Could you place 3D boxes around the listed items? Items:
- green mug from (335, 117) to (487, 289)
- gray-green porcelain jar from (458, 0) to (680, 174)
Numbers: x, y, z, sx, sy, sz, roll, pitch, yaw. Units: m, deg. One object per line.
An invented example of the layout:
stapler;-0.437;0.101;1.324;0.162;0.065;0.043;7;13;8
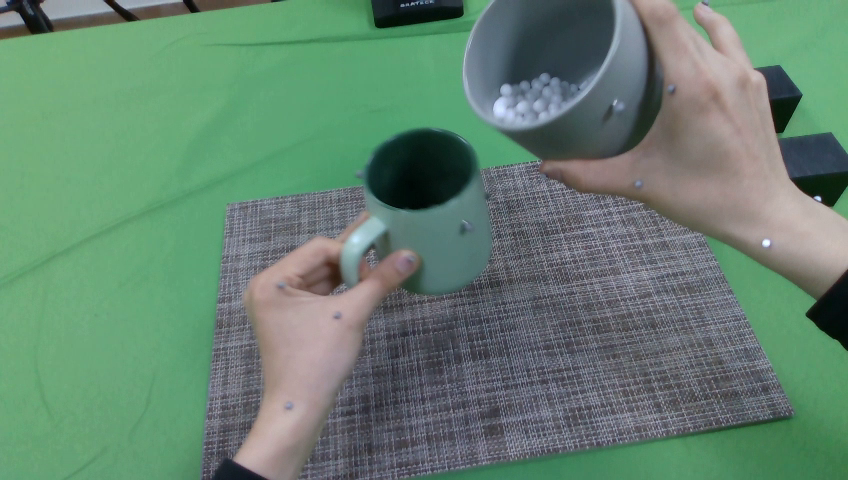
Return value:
green mug;-0.013;-0.014;0.440;0.091;0.106;0.125;36;68;27
gray-green porcelain jar;0.100;-0.106;0.393;0.105;0.127;0.105;-12;70;35
